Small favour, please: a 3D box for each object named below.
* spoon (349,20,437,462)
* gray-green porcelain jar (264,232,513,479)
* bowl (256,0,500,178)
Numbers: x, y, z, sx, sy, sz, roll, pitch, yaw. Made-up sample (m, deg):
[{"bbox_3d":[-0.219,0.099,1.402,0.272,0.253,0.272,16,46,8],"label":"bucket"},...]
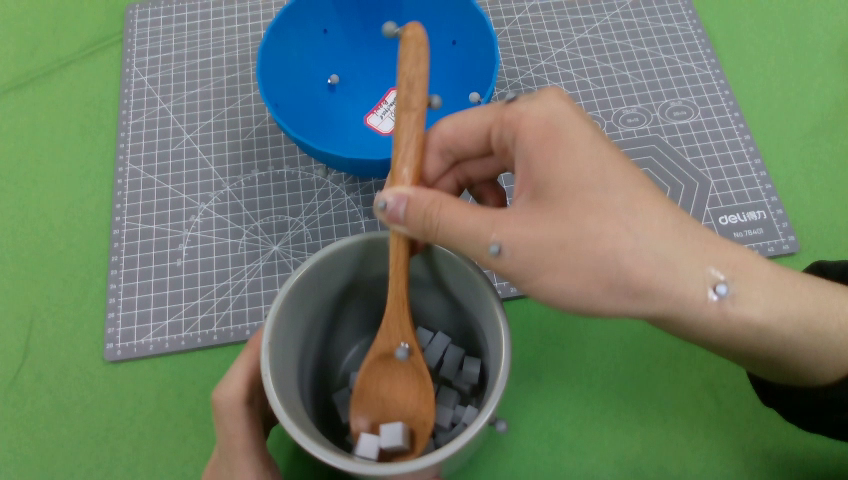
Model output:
[{"bbox_3d":[-0.009,0.008,0.260,0.041,0.021,0.194,9,107,14],"label":"spoon"},{"bbox_3d":[-0.012,0.069,0.309,0.106,0.127,0.105,-1,65,2],"label":"gray-green porcelain jar"},{"bbox_3d":[-0.027,-0.096,0.406,0.151,0.077,0.150,-1,65,2],"label":"bowl"}]
